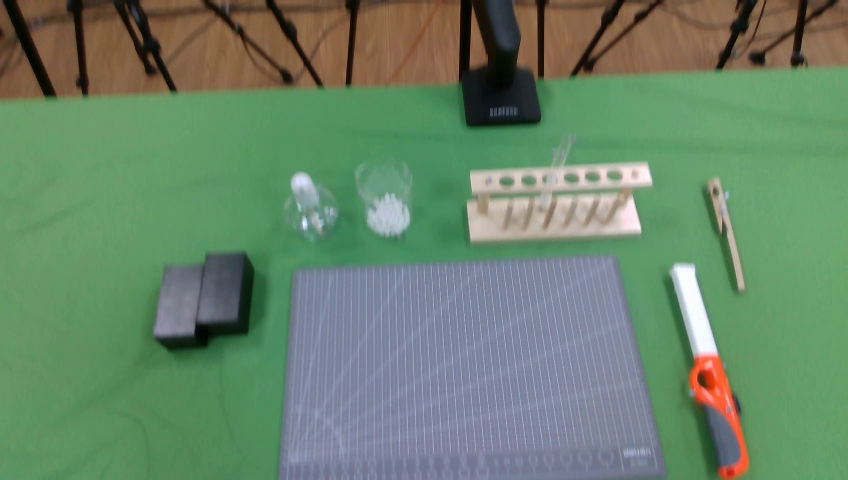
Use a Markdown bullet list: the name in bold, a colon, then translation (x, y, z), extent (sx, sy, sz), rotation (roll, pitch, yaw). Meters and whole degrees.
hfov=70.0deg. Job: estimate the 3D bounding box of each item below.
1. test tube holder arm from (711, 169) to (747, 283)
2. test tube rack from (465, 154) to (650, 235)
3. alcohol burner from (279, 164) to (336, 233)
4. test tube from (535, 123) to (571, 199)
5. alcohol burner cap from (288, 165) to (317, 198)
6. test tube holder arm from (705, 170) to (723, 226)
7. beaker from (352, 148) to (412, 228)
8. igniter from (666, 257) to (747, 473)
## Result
- **test tube holder arm**: translation (0.429, -0.023, 0.857), extent (0.013, 0.015, 0.177), rotation (-20, 57, 29)
- **test tube rack**: translation (0.181, -0.061, 0.841), extent (0.242, 0.086, 0.066), rotation (-3, 61, -2)
- **alcohol burner**: translation (-0.161, -0.062, 0.824), extent (0.078, 0.120, 0.077), rotation (0, 60, 1)
- **test tube**: translation (0.170, -0.100, 0.806), extent (0.017, 0.151, 0.017), rotation (2, 59, -2)
- **alcohol burner cap**: translation (-0.160, -0.079, 0.793), extent (0.034, 0.048, 0.033), rotation (-1, 67, 2)
- **test tube holder arm**: translation (0.423, -0.061, 0.880), extent (0.010, 0.015, 0.087), rotation (-18, 58, 30)
- **beaker**: translation (-0.057, -0.069, 0.837), extent (0.083, 0.101, 0.073), rotation (22, 63, 13)
- **igniter**: translation (0.352, 0.147, 0.762), extent (0.057, 0.025, 0.274), rotation (3, 61, -10)
